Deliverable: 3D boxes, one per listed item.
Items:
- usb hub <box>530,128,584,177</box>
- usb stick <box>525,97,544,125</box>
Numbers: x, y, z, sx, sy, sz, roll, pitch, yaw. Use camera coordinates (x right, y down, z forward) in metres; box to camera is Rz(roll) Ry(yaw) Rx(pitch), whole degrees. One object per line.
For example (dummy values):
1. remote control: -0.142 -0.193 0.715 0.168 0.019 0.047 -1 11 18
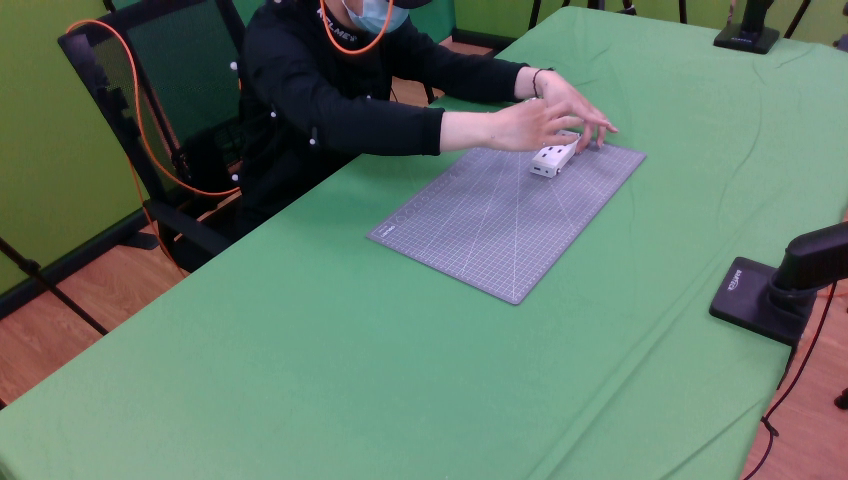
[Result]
1. usb hub: 0.246 -0.162 1.115 0.049 0.025 0.125 22 50 30
2. usb stick: 0.195 -0.235 1.080 0.021 0.027 0.059 -20 44 14
